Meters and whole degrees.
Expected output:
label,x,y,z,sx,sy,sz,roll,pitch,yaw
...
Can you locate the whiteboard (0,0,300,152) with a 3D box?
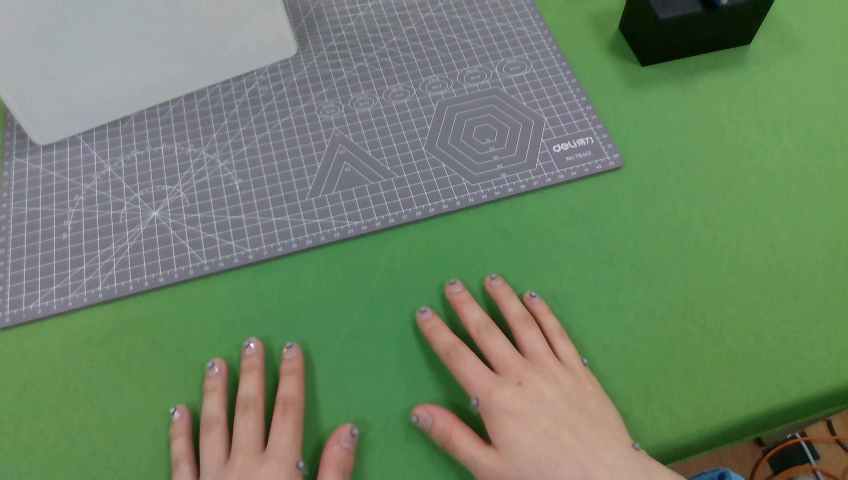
label,x,y,z,sx,sy,sz,roll,pitch,yaw
whiteboard,-0.252,-0.259,0.430,0.217,0.308,0.142,-24,44,-11
